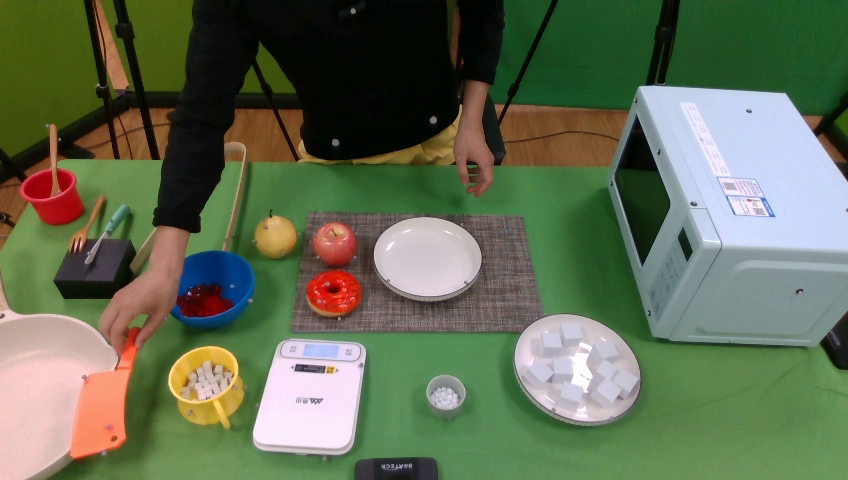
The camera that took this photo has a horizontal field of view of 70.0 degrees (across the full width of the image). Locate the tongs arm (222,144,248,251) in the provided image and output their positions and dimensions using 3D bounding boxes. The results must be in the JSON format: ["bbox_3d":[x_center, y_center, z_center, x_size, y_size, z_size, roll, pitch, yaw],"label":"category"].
[{"bbox_3d":[-0.398,-0.072,1.233,0.051,0.027,0.382,-3,45,1],"label":"tongs arm"}]

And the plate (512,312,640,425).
[{"bbox_3d":[0.246,0.213,0.999,0.208,0.039,0.206,2,46,-2],"label":"plate"}]

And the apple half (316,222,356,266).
[{"bbox_3d":[-0.157,0.015,1.132,0.053,0.075,0.080,28,48,18],"label":"apple half"}]

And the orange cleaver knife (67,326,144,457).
[{"bbox_3d":[-0.457,0.212,0.879,0.077,0.012,0.210,1,45,-9],"label":"orange cleaver knife"}]

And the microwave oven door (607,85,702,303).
[{"bbox_3d":[0.423,-0.094,1.140,0.039,0.245,0.353,2,46,-1],"label":"microwave oven door"}]

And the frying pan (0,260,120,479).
[{"bbox_3d":[-0.647,0.164,0.936,0.307,0.103,0.485,-19,58,-22],"label":"frying pan"}]

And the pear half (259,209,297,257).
[{"bbox_3d":[-0.273,-0.025,1.141,0.076,0.110,0.056,28,51,16],"label":"pear half"}]

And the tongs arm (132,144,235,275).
[{"bbox_3d":[-0.484,-0.075,1.237,0.028,0.028,0.385,5,45,14],"label":"tongs arm"}]

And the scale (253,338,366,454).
[{"bbox_3d":[-0.175,0.236,0.951,0.149,0.032,0.199,4,45,-1],"label":"scale"}]

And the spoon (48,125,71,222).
[{"bbox_3d":[-0.718,-0.131,1.188,0.042,0.021,0.193,-3,90,-7],"label":"spoon"}]

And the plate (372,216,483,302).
[{"bbox_3d":[0.006,0.038,1.145,0.209,0.038,0.208,2,46,-2],"label":"plate"}]

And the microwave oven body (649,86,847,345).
[{"bbox_3d":[0.567,-0.053,1.118,0.326,0.261,0.439,2,45,-1],"label":"microwave oven body"}]

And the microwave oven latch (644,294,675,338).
[{"bbox_3d":[0.410,0.133,1.062,0.030,0.029,0.078,1,45,-2],"label":"microwave oven latch"}]

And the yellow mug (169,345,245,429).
[{"bbox_3d":[-0.322,0.230,0.922,0.100,0.064,0.130,-24,53,-25],"label":"yellow mug"}]

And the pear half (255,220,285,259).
[{"bbox_3d":[-0.293,0.003,1.127,0.070,0.088,0.031,25,49,16],"label":"pear half"}]

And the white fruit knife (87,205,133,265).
[{"bbox_3d":[-0.584,-0.013,1.129,0.016,0.027,0.206,0,31,-4],"label":"white fruit knife"}]

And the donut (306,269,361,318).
[{"bbox_3d":[-0.160,0.094,1.075,0.099,0.048,0.098,3,46,-3],"label":"donut"}]

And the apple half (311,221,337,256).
[{"bbox_3d":[-0.190,-0.001,1.143,0.032,0.081,0.081,28,51,18],"label":"apple half"}]

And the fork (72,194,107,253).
[{"bbox_3d":[-0.634,-0.035,1.158,0.028,0.019,0.206,-8,32,-8],"label":"fork"}]

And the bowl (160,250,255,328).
[{"bbox_3d":[-0.362,0.098,1.039,0.151,0.077,0.150,2,45,-2],"label":"bowl"}]

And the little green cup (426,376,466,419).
[{"bbox_3d":[0.033,0.248,0.950,0.061,0.039,0.061,2,46,-2],"label":"little green cup"}]
